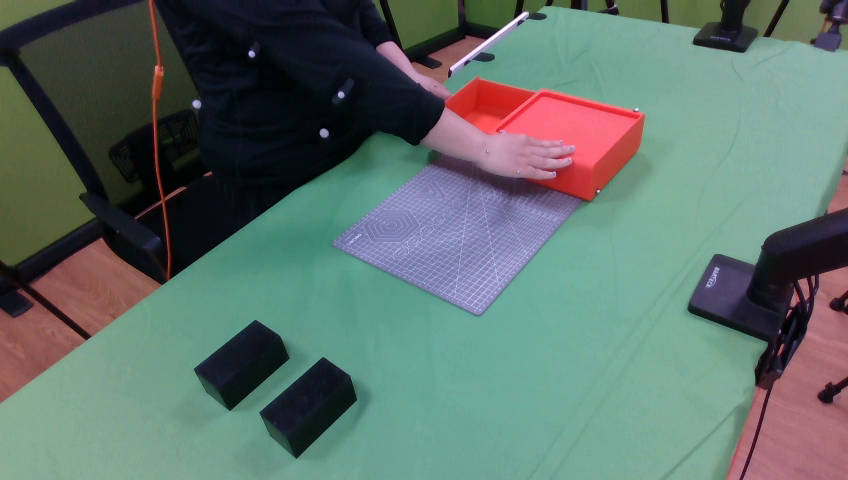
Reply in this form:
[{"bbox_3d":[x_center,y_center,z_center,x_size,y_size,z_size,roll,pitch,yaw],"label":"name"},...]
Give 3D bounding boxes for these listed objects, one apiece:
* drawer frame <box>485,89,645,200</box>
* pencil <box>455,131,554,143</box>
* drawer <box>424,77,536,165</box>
[{"bbox_3d":[0.253,-0.179,1.094,0.212,0.083,0.202,24,49,31],"label":"drawer frame"},{"bbox_3d":[0.154,-0.199,1.175,0.193,0.012,0.012,-2,40,14],"label":"pencil"},{"bbox_3d":[0.140,-0.226,1.168,0.210,0.073,0.195,22,48,29],"label":"drawer"}]
